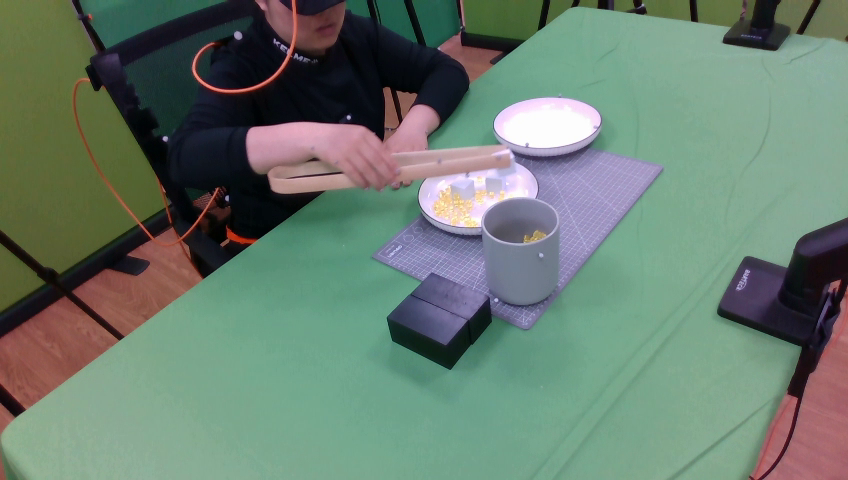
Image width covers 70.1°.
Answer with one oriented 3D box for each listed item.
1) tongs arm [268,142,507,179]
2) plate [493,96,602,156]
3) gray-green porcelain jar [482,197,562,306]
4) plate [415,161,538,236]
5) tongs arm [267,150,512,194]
[{"bbox_3d":[-0.055,-0.126,0.979,0.388,0.028,0.028,-7,38,-4],"label":"tongs arm"},{"bbox_3d":[0.238,-0.218,1.180,0.209,0.038,0.208,-4,39,4],"label":"plate"},{"bbox_3d":[0.138,0.020,0.846,0.106,0.127,0.105,-5,40,5],"label":"gray-green porcelain jar"},{"bbox_3d":[0.090,-0.072,1.034,0.207,0.039,0.206,-5,40,5],"label":"plate"},{"bbox_3d":[-0.052,-0.113,0.959,0.386,0.026,0.050,-9,34,-8],"label":"tongs arm"}]
